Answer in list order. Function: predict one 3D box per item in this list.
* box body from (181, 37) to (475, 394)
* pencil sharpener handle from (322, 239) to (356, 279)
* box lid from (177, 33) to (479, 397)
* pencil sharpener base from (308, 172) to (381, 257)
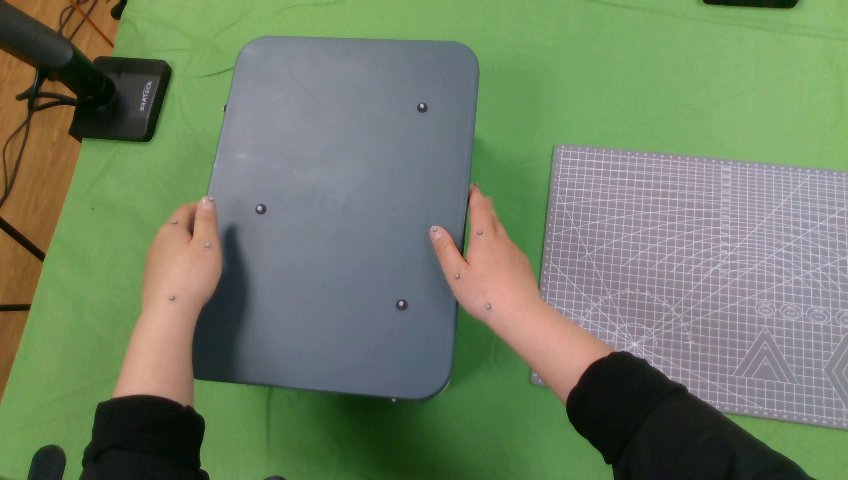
[{"bbox_3d":[-0.080,-0.019,0.669,0.254,0.161,0.362,4,73,6],"label":"box body"},{"bbox_3d":[-0.094,0.022,0.668,0.036,0.068,0.030,4,75,-4],"label":"pencil sharpener handle"},{"bbox_3d":[-0.087,-0.044,0.599,0.263,0.015,0.369,4,74,6],"label":"box lid"},{"bbox_3d":[-0.088,-0.023,0.693,0.061,0.107,0.076,2,75,5],"label":"pencil sharpener base"}]
